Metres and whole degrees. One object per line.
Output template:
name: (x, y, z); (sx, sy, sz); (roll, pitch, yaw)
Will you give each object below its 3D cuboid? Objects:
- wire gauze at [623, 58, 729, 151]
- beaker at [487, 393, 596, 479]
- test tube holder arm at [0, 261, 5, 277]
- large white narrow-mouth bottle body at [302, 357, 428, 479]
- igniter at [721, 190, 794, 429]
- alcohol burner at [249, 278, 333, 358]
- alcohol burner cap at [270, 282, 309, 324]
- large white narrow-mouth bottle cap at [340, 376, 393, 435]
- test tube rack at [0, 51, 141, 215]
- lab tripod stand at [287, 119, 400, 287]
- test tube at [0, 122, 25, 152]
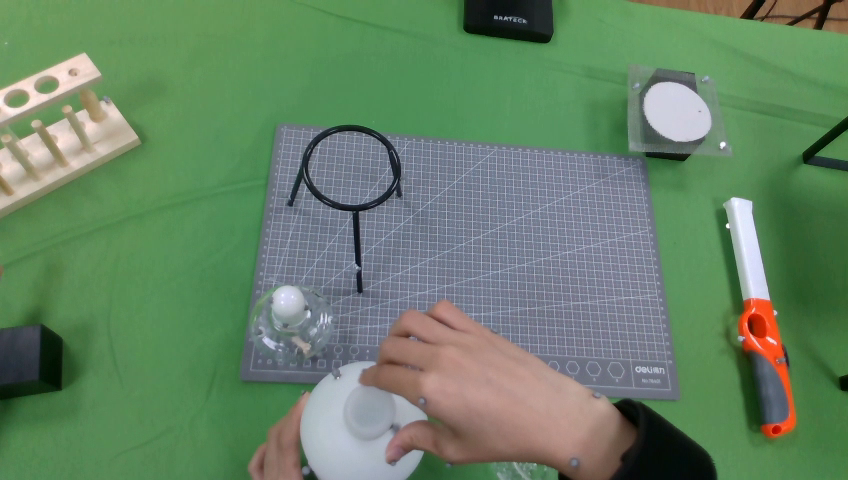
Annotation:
wire gauze: (0.299, -0.162, 0.727); (0.122, 0.011, 0.124); (6, 67, -6)
beaker: (0.099, 0.183, 0.552); (0.084, 0.101, 0.073); (30, 65, 7)
test tube holder arm: (-0.388, 0.058, 0.527); (0.010, 0.015, 0.087); (7, 65, -4)
large white narrow-mouth bottle body: (-0.048, 0.150, 0.493); (0.102, 0.195, 0.101); (3, 66, -6)
igniter: (0.372, 0.070, 0.679); (0.057, 0.025, 0.274); (9, 66, -16)
alcohol burner: (-0.123, 0.067, 0.559); (0.078, 0.119, 0.077); (4, 65, -8)
alcohol burner cap: (-0.118, 0.053, 0.526); (0.034, 0.048, 0.033); (2, 72, -6)
large white narrow-mouth bottle cap: (-0.039, 0.112, 0.412); (0.038, 0.024, 0.037); (3, 66, -6)
test tube rack: (-0.421, -0.085, 0.600); (0.242, 0.085, 0.066); (-35, 75, -20)
lab tripod stand: (-0.072, -0.042, 0.603); (0.149, 0.132, 0.147); (4, 67, -8)
test tube: (-0.412, -0.129, 0.567); (0.017, 0.151, 0.017); (4, 61, -7)
